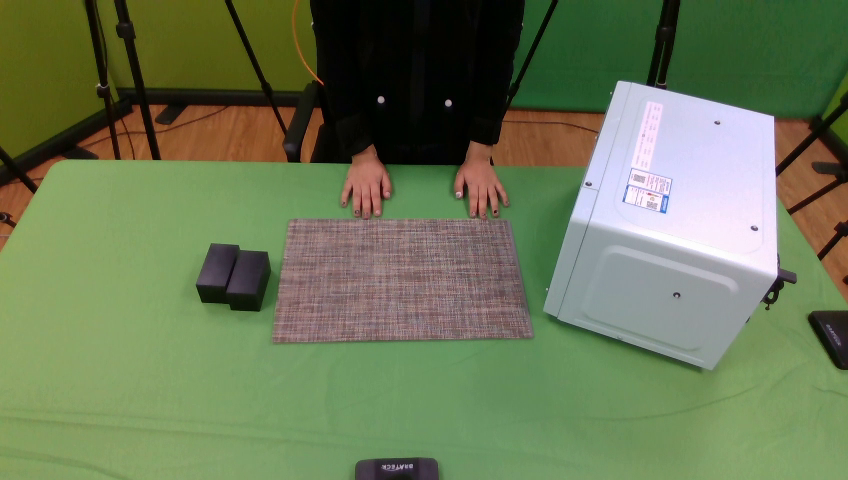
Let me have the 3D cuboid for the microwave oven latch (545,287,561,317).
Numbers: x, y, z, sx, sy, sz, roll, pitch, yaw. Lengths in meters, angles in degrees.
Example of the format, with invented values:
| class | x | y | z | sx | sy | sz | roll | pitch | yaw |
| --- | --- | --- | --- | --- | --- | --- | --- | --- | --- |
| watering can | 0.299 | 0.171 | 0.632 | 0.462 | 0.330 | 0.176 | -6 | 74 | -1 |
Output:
| class | x | y | z | sx | sy | sz | roll | pitch | yaw |
| --- | --- | --- | --- | --- | --- | --- | --- | --- | --- |
| microwave oven latch | 0.237 | 0.098 | 1.087 | 0.030 | 0.029 | 0.079 | 17 | 47 | 13 |

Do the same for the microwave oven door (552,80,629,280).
| class | x | y | z | sx | sy | sz | roll | pitch | yaw |
| --- | --- | --- | --- | --- | --- | --- | --- | --- | --- |
| microwave oven door | 0.324 | -0.116 | 1.156 | 0.039 | 0.245 | 0.354 | 18 | 48 | 13 |

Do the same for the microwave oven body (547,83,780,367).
| class | x | y | z | sx | sy | sz | roll | pitch | yaw |
| --- | --- | --- | --- | --- | --- | --- | --- | --- | --- |
| microwave oven body | 0.445 | -0.041 | 1.101 | 0.325 | 0.261 | 0.440 | 17 | 47 | 13 |

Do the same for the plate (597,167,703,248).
| class | x | y | z | sx | sy | sz | roll | pitch | yaw |
| --- | --- | --- | --- | --- | --- | --- | --- | --- | --- |
| plate | 0.432 | -0.060 | 1.176 | 0.209 | 0.038 | 0.208 | 7 | 47 | -8 |

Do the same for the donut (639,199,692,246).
| class | x | y | z | sx | sy | sz | roll | pitch | yaw |
| --- | --- | --- | --- | --- | --- | --- | --- | --- | --- |
| donut | 0.461 | -0.034 | 1.159 | 0.099 | 0.048 | 0.098 | 1 | 62 | -2 |
